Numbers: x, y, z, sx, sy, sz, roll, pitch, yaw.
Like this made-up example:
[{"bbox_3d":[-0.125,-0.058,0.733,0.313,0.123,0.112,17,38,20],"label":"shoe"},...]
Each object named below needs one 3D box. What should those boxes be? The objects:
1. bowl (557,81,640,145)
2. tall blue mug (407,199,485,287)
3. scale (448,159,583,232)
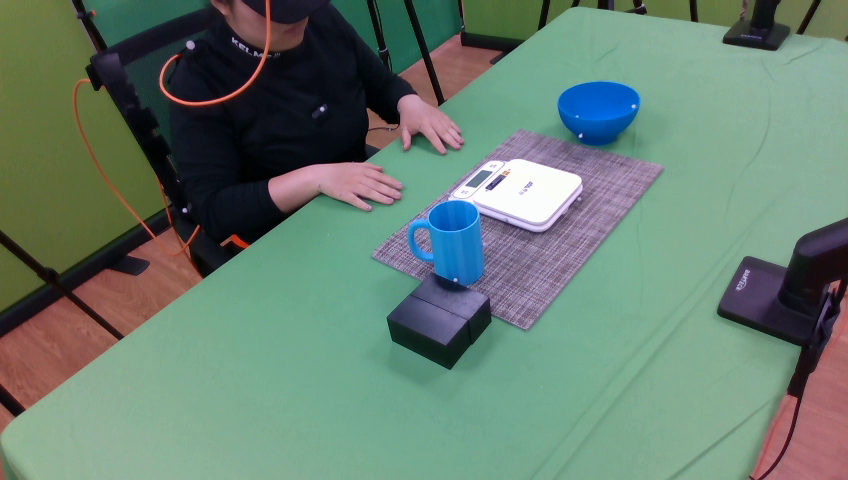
[{"bbox_3d":[0.330,-0.233,1.152,0.151,0.077,0.150,-5,40,5],"label":"bowl"},{"bbox_3d":[0.034,0.008,0.892,0.107,0.108,0.077,-13,41,-5],"label":"tall blue mug"},{"bbox_3d":[0.156,-0.085,1.040,0.199,0.032,0.149,22,49,32],"label":"scale"}]
